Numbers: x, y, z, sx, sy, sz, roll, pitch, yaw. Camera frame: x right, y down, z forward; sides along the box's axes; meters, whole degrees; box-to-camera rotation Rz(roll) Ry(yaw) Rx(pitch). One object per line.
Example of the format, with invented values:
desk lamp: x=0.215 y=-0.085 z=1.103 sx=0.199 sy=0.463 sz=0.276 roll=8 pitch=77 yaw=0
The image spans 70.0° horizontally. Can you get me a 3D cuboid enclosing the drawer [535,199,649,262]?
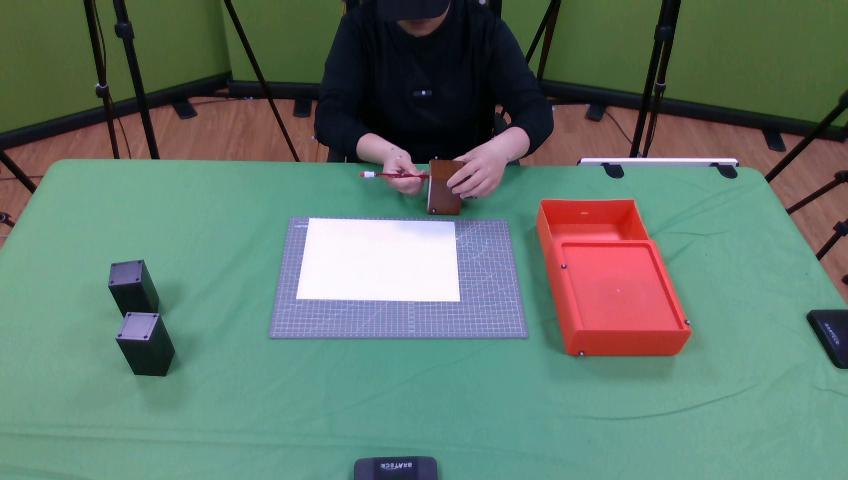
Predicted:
drawer: x=0.332 y=0.015 z=1.169 sx=0.195 sy=0.073 sz=0.210 roll=0 pitch=46 yaw=-5

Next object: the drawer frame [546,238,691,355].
drawer frame: x=0.338 y=0.097 z=1.086 sx=0.202 sy=0.083 sz=0.212 roll=0 pitch=46 yaw=-4

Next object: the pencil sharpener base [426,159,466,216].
pencil sharpener base: x=0.044 y=-0.106 z=1.246 sx=0.077 sy=0.107 sz=0.061 roll=2 pitch=45 yaw=-3

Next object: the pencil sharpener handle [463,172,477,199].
pencil sharpener handle: x=0.096 y=-0.112 z=1.238 sx=0.031 sy=0.068 sz=0.036 roll=2 pitch=39 yaw=-3

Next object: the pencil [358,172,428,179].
pencil: x=-0.036 y=-0.128 z=1.222 sx=0.194 sy=0.012 sz=0.012 roll=2 pitch=45 yaw=-4
